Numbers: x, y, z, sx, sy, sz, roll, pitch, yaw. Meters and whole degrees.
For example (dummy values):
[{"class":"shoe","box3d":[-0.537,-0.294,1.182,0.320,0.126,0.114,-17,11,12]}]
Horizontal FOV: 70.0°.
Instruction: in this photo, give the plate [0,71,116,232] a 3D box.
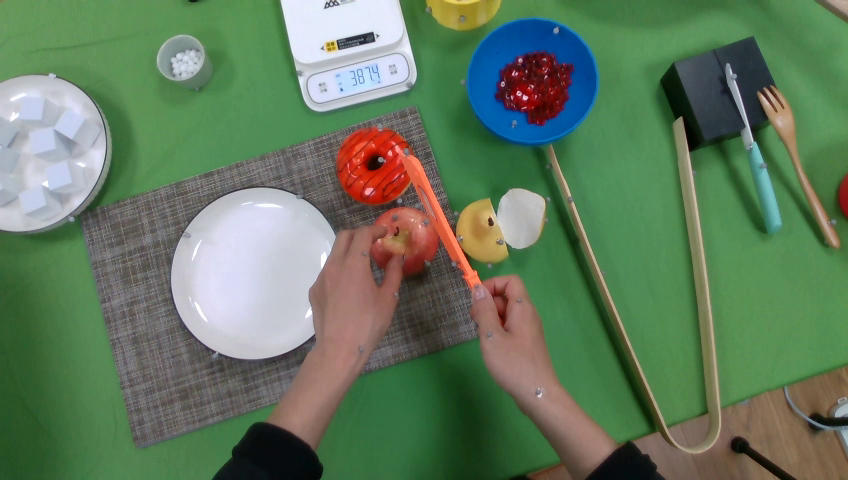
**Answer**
[{"class":"plate","box3d":[-0.490,-0.110,0.771,0.207,0.039,0.207,0,82,3]}]

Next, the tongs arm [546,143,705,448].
[{"class":"tongs arm","box3d":[0.232,0.058,0.711,0.051,0.026,0.383,-18,82,-5]}]

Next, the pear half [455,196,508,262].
[{"class":"pear half","box3d":[0.064,-0.011,0.691,0.056,0.110,0.076,-23,78,0]}]

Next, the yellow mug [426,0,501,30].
[{"class":"yellow mug","box3d":[0.037,-0.335,0.759,0.130,0.064,0.100,39,86,8]}]

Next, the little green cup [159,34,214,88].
[{"class":"little green cup","box3d":[-0.302,-0.227,0.777,0.061,0.039,0.061,0,82,3]}]

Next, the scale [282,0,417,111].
[{"class":"scale","box3d":[-0.099,-0.276,0.776,0.148,0.031,0.200,-14,82,2]}]

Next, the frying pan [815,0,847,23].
[{"class":"frying pan","box3d":[0.365,-0.375,0.728,0.307,0.103,0.485,-45,74,-2]}]

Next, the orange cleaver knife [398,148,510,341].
[{"class":"orange cleaver knife","box3d":[0.028,0.003,0.595,0.012,0.077,0.212,-29,98,-6]}]

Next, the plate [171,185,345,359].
[{"class":"plate","box3d":[-0.195,0.038,0.731,0.209,0.038,0.208,0,82,3]}]

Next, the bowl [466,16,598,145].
[{"class":"bowl","box3d":[0.125,-0.179,0.727,0.151,0.077,0.151,0,83,3]}]

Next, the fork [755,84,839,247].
[{"class":"fork","box3d":[0.437,-0.085,0.704,0.028,0.018,0.208,-27,97,-3]}]

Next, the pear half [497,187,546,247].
[{"class":"pear half","box3d":[0.122,-0.031,0.713,0.031,0.088,0.070,-19,78,-37]}]

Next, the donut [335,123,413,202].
[{"class":"donut","box3d":[-0.061,-0.094,0.738,0.099,0.048,0.098,-1,83,5]}]

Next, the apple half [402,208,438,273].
[{"class":"apple half","box3d":[0.000,0.005,0.706,0.032,0.081,0.081,16,83,9]}]

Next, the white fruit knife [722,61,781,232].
[{"class":"white fruit knife","box3d":[0.378,-0.107,0.702,0.016,0.027,0.207,-20,96,0]}]

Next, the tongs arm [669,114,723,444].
[{"class":"tongs arm","box3d":[0.316,0.039,0.715,0.028,0.028,0.386,-3,82,-6]}]

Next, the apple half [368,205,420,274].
[{"class":"apple half","box3d":[-0.038,-0.004,0.710,0.053,0.075,0.080,15,86,8]}]
